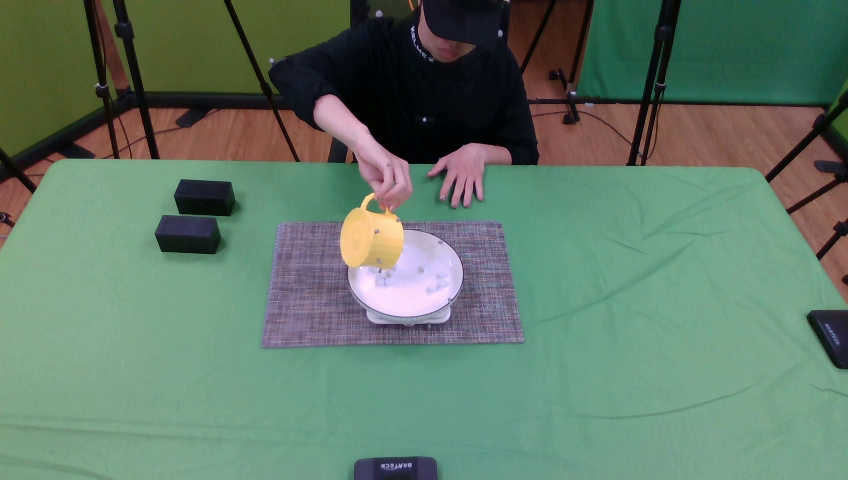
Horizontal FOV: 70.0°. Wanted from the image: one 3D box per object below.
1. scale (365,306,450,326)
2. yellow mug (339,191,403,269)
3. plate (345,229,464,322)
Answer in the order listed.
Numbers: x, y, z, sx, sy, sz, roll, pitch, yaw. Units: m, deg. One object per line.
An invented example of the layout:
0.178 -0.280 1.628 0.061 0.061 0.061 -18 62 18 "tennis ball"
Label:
-0.031 0.072 1.114 0.149 0.032 0.199 0 46 -4 "scale"
-0.086 -0.017 1.014 0.064 0.131 0.099 6 6 -39 "yellow mug"
-0.034 0.065 1.073 0.209 0.038 0.208 2 46 -2 "plate"
